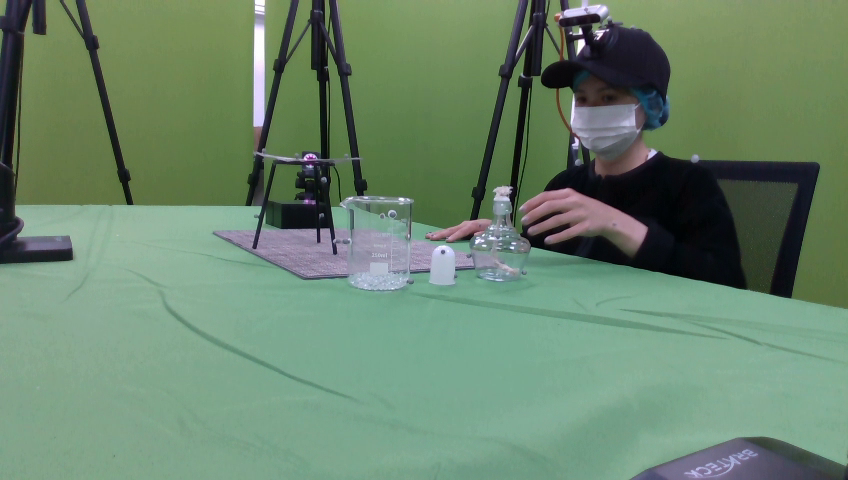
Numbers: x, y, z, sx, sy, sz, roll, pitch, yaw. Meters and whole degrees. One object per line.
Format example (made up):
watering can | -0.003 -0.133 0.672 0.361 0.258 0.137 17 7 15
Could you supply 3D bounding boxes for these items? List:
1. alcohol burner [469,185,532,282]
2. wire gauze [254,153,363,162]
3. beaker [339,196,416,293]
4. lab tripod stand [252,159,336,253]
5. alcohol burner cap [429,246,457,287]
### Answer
alcohol burner | 0.096 -0.008 0.752 0.078 0.119 0.078 3 5 0
wire gauze | -0.172 -0.119 0.891 0.122 0.011 0.124 -2 7 -38
beaker | -0.052 0.004 0.661 0.084 0.100 0.073 0 7 -18
lab tripod stand | -0.180 -0.053 0.900 0.148 0.131 0.148 1 6 0
alcohol burner cap | 0.024 0.030 0.705 0.034 0.048 0.034 2 6 0
